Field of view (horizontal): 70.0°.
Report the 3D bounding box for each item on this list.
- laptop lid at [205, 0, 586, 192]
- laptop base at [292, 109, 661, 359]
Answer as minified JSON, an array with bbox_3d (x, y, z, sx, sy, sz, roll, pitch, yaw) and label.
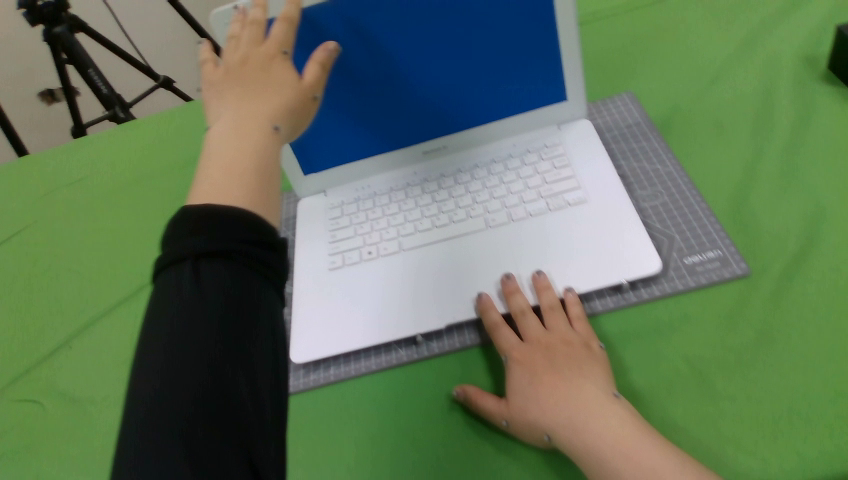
[{"bbox_3d":[-0.016,-0.186,0.638,0.356,0.244,0.013,-17,38,7],"label":"laptop lid"},{"bbox_3d":[0.031,-0.014,0.631,0.354,0.023,0.233,-16,50,6],"label":"laptop base"}]
